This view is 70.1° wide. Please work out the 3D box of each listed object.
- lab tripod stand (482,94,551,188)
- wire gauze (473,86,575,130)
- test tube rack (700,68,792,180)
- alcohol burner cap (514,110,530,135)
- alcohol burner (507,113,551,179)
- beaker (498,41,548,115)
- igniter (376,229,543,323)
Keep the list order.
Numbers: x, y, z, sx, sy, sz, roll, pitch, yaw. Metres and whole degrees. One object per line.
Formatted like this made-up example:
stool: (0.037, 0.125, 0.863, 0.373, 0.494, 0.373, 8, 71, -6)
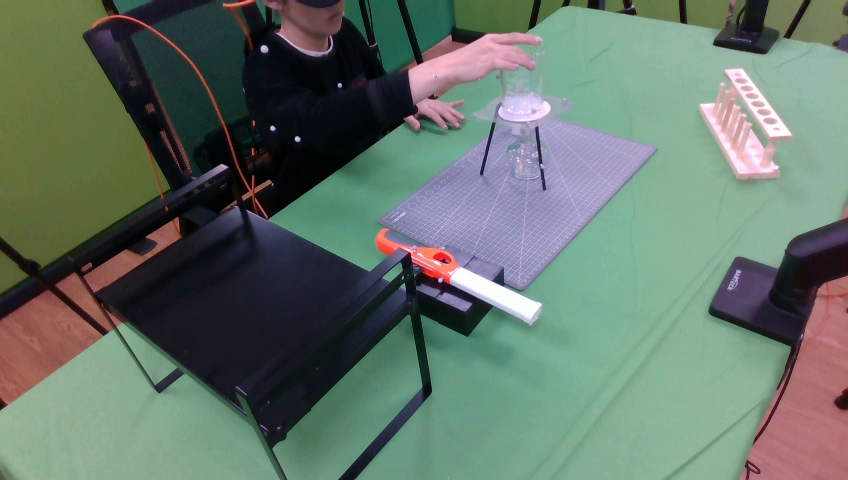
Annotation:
lab tripod stand: (0.172, -0.176, 1.064, 0.148, 0.132, 0.147, -5, 42, 5)
wire gauze: (0.168, -0.220, 1.014, 0.125, 0.011, 0.120, -37, 45, -29)
test tube rack: (0.572, -0.215, 1.090, 0.066, 0.085, 0.241, -3, 41, 7)
alcohol burner cap: (0.195, -0.235, 1.200, 0.034, 0.048, 0.033, -5, 42, 5)
alcohol burner: (0.186, -0.169, 1.069, 0.078, 0.119, 0.077, -5, 39, 4)
beaker: (0.160, -0.263, 0.989, 0.083, 0.101, 0.074, 15, 44, 27)
igniter: (0.038, 0.044, 0.843, 0.274, 0.025, 0.057, 25, 47, 29)
